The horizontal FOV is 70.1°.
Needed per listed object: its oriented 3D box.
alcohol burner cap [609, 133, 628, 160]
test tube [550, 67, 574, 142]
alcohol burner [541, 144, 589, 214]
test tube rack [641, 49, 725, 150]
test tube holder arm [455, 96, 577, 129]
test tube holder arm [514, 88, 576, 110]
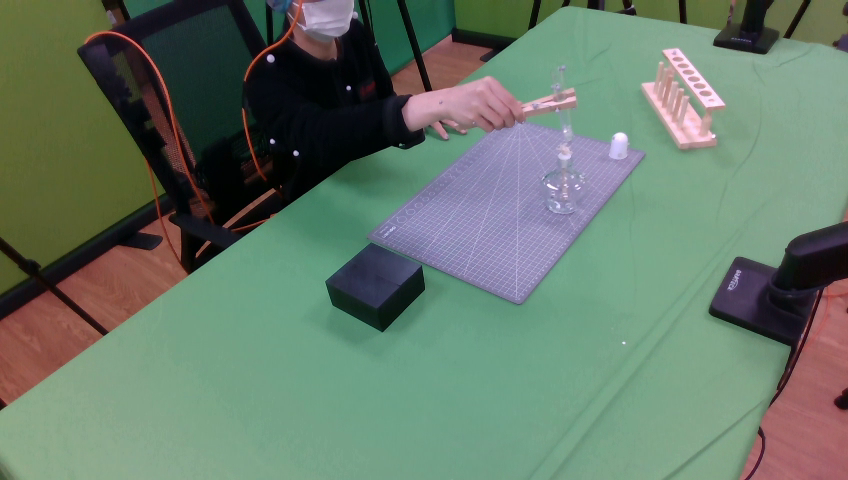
[{"bbox_3d":[0.356,-0.172,1.101,0.034,0.048,0.033,-5,41,5],"label":"alcohol burner cap"},{"bbox_3d":[0.200,-0.191,0.869,0.017,0.151,0.017,-9,59,16],"label":"test tube"},{"bbox_3d":[0.229,-0.102,0.983,0.078,0.119,0.077,-6,40,5],"label":"alcohol burner"},{"bbox_3d":[0.495,-0.279,1.175,0.067,0.085,0.241,-5,41,3],"label":"test tube rack"},{"bbox_3d":[0.130,-0.183,0.875,0.178,0.015,0.013,-9,58,19],"label":"test tube holder arm"},{"bbox_3d":[0.172,-0.197,0.865,0.087,0.015,0.010,-16,56,14],"label":"test tube holder arm"}]
